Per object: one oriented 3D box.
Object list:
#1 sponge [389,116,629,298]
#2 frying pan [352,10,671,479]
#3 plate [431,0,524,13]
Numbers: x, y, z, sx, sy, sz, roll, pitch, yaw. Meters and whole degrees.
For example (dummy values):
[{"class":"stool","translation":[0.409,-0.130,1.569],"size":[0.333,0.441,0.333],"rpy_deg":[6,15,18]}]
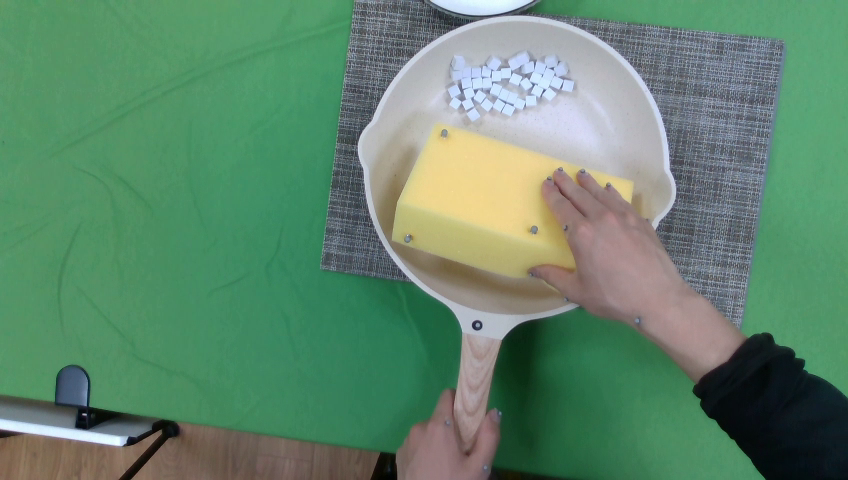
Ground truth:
[{"class":"sponge","translation":[0.083,-0.035,0.586],"size":[0.207,0.061,0.117],"rpy_deg":[17,53,3]},{"class":"frying pan","translation":[0.064,0.028,0.600],"size":[0.306,0.103,0.486],"rpy_deg":[11,85,5]},{"class":"plate","translation":[0.059,-0.336,0.625],"size":[0.207,0.039,0.207],"rpy_deg":[0,92,5]}]
